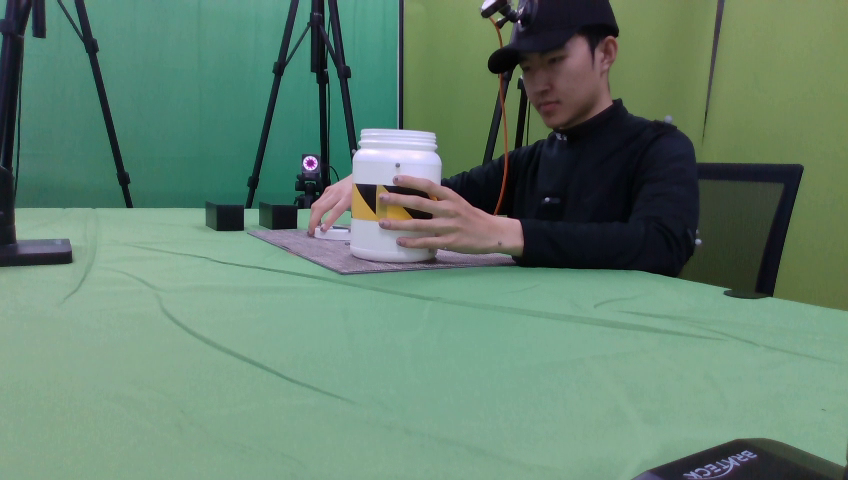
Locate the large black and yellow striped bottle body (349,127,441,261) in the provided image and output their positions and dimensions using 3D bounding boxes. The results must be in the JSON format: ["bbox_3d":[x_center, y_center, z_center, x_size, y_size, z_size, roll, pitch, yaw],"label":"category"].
[{"bbox_3d":[-0.042,-0.068,0.880,0.131,0.184,0.130,2,7,0],"label":"large black and yellow striped bottle body"}]

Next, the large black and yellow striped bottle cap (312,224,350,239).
[{"bbox_3d":[-0.146,-0.016,1.108,0.115,0.019,0.115,3,7,0],"label":"large black and yellow striped bottle cap"}]
